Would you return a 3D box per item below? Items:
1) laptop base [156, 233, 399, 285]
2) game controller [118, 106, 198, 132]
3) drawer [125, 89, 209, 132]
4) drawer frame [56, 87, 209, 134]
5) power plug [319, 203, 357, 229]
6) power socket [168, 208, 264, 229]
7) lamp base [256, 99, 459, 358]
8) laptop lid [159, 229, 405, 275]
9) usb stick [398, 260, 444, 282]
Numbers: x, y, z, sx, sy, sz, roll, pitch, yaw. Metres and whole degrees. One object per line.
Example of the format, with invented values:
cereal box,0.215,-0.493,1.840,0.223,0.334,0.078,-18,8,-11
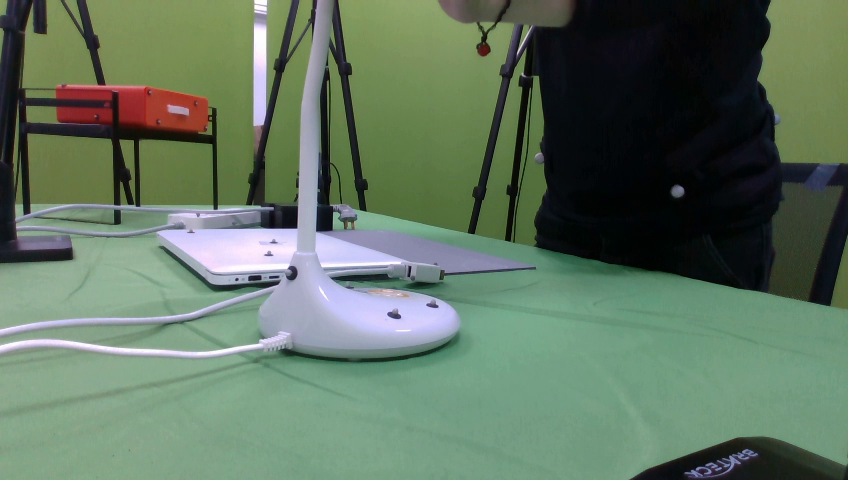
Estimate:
laptop base,-0.204,0.019,0.806,0.237,0.023,0.352,0,7,-33
game controller,-0.555,-0.252,1.255,0.097,0.051,0.155,7,11,19
drawer,-0.595,-0.268,1.263,0.211,0.073,0.195,4,8,15
drawer frame,-0.598,-0.269,1.262,0.213,0.082,0.202,4,8,14
power plug,-0.170,-0.046,1.210,0.073,0.052,0.035,-6,-16,-6
power socket,-0.381,-0.038,1.128,0.072,0.032,0.227,4,8,16
lamp base,-0.055,-0.013,0.463,0.160,0.180,0.180,6,11,27
laptop lid,-0.202,0.007,0.806,0.243,0.013,0.355,-1,8,-31
usb stick,-0.001,0.036,0.697,0.027,0.021,0.059,11,4,42
